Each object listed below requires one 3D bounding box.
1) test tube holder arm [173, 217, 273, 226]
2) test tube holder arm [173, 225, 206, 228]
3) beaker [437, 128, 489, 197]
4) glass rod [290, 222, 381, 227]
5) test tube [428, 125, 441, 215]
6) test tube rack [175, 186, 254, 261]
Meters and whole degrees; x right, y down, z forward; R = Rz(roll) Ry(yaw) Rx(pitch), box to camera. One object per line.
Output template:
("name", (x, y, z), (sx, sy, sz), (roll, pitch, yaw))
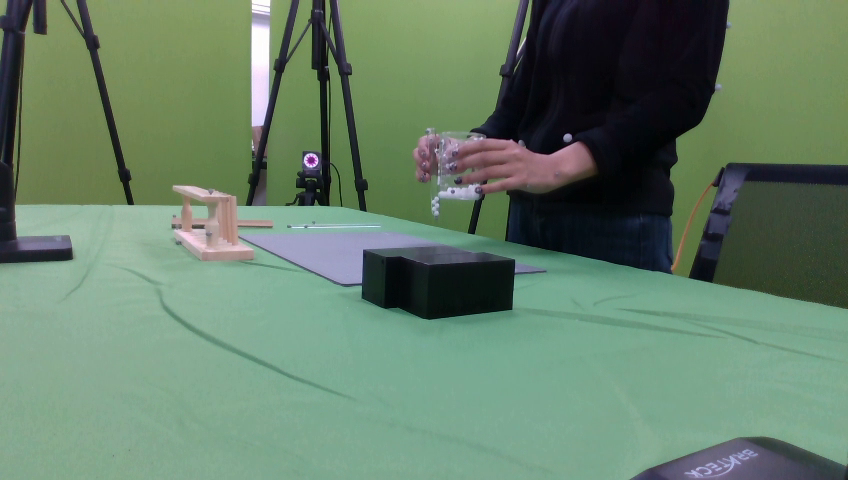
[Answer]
("test tube holder arm", (-0.371, -0.033, 1.128), (0.179, 0.015, 0.013), (-1, -22, -26))
("test tube holder arm", (-0.415, -0.030, 1.113), (0.088, 0.015, 0.010), (-1, -22, -25))
("beaker", (0.056, -0.117, 0.928), (0.074, 0.100, 0.083), (2, 3, -21))
("glass rod", (-0.178, -0.033, 1.247), (0.201, 0.008, 0.008), (-2, 8, -30))
("test tube", (0.018, -0.116, 1.014), (0.017, 0.150, 0.017), (-3, 14, 1))
("test tube rack", (-0.314, -0.031, 0.889), (0.067, 0.085, 0.241), (-2, 8, -30))
